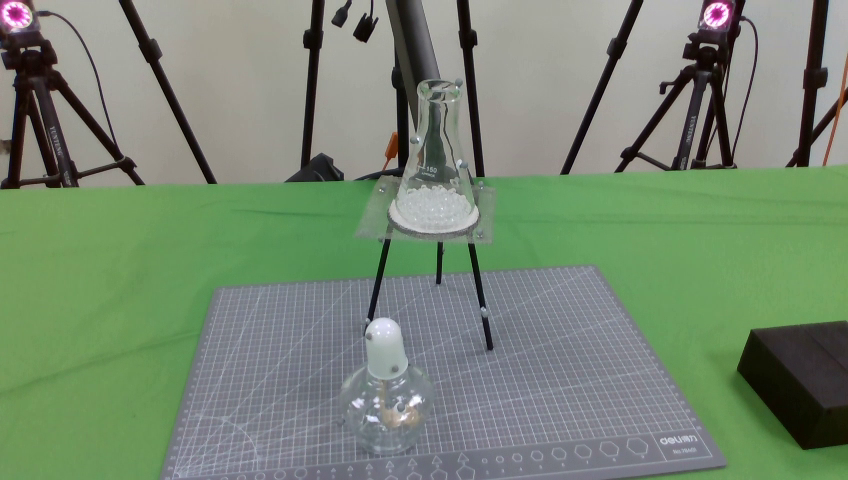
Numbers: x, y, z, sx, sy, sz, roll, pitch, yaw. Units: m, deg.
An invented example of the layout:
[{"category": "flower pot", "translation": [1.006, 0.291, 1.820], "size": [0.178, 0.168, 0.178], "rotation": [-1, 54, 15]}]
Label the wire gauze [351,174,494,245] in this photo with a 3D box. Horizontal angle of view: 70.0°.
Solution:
[{"category": "wire gauze", "translation": [0.004, -0.029, 0.572], "size": [0.121, 0.011, 0.124], "rotation": [5, 34, 6]}]

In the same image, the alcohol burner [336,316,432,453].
[{"category": "alcohol burner", "translation": [-0.032, 0.111, 0.485], "size": [0.078, 0.120, 0.077], "rotation": [1, 30, 0]}]

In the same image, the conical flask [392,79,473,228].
[{"category": "conical flask", "translation": [0.010, -0.078, 0.537], "size": [0.075, 0.123, 0.074], "rotation": [2, 32, -1]}]

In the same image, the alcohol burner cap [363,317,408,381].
[{"category": "alcohol burner cap", "translation": [-0.031, 0.081, 0.465], "size": [0.034, 0.048, 0.033], "rotation": [-4, 35, 3]}]

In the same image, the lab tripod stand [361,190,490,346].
[{"category": "lab tripod stand", "translation": [0.009, 0.028, 0.606], "size": [0.148, 0.132, 0.147], "rotation": [3, 31, -1]}]
